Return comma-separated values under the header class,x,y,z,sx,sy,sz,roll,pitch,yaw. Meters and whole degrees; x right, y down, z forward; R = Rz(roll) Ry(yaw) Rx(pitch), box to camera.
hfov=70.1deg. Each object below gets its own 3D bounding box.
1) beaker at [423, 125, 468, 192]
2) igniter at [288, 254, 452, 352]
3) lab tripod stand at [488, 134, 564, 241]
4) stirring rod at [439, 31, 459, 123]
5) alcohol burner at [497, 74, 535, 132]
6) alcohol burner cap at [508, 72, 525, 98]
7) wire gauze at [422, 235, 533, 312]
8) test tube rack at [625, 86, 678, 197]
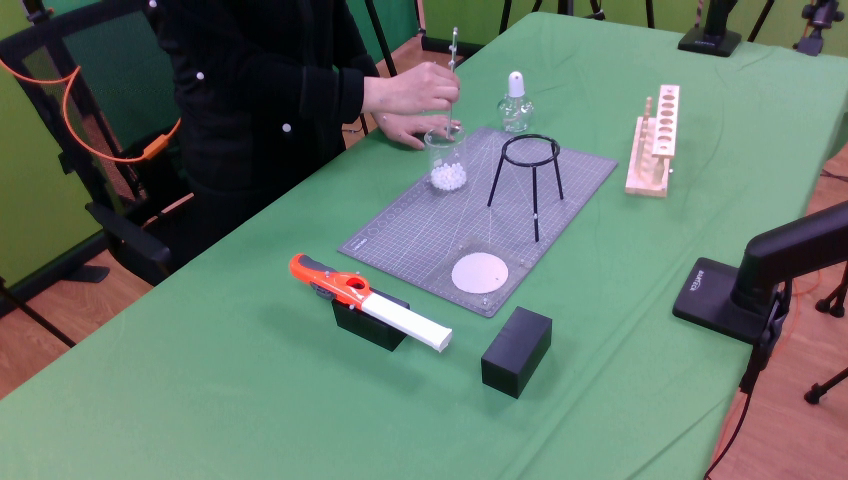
class,x,y,z,sx,sy,sz,roll,pitch,yaw
beaker,0.042,-0.144,1.078,0.073,0.100,0.084,28,51,34
igniter,-0.083,0.079,0.818,0.274,0.025,0.057,23,46,27
lab tripod stand,0.168,-0.092,0.972,0.148,0.132,0.147,-5,41,5
stirring rod,0.038,-0.253,0.956,0.006,0.176,0.014,31,57,15
alcohol burner,0.184,-0.278,1.210,0.078,0.119,0.077,-3,42,3
alcohol burner cap,0.181,-0.306,1.186,0.034,0.048,0.033,-7,39,6
wire gauze,0.081,0.049,0.914,0.120,0.011,0.125,26,52,32
test tube rack,0.412,-0.184,1.088,0.066,0.085,0.242,9,43,18
